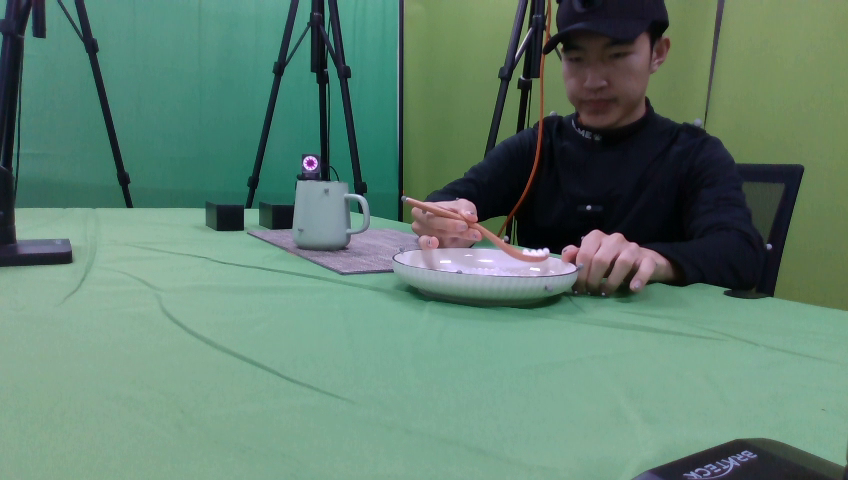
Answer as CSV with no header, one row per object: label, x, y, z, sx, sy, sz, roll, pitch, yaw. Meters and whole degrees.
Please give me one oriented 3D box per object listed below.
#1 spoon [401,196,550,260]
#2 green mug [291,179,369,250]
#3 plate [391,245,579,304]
spoon,0.060,-0.017,0.735,0.193,0.021,0.042,27,9,11
green mug,-0.144,-0.040,0.944,0.125,0.105,0.093,4,7,16
plate,0.066,0.038,0.683,0.209,0.038,0.209,2,7,0
